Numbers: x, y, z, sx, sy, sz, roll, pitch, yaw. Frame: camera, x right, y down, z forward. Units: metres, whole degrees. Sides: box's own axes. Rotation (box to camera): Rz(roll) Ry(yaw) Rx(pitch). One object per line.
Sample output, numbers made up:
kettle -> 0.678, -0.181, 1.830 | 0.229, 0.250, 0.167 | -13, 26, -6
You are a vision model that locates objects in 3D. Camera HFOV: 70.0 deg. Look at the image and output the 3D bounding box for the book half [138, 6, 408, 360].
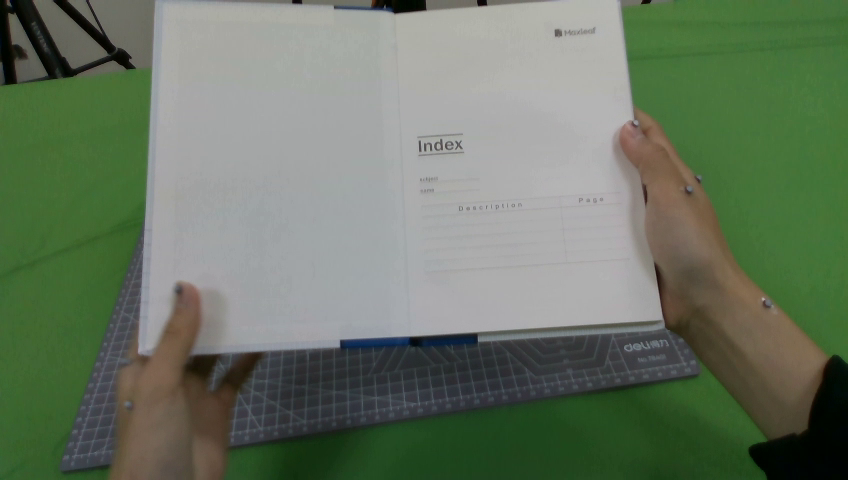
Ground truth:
book half -> -0.085, -0.039, 0.350 | 0.143, 0.007, 0.209 | -1, 78, -8
